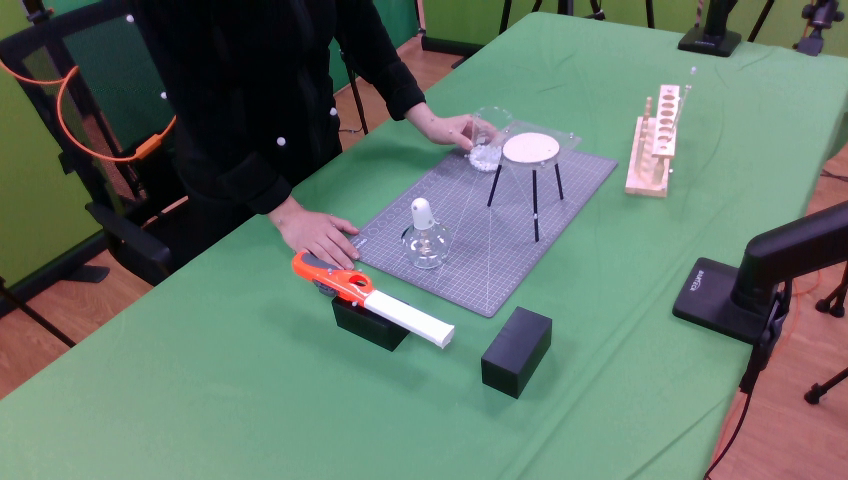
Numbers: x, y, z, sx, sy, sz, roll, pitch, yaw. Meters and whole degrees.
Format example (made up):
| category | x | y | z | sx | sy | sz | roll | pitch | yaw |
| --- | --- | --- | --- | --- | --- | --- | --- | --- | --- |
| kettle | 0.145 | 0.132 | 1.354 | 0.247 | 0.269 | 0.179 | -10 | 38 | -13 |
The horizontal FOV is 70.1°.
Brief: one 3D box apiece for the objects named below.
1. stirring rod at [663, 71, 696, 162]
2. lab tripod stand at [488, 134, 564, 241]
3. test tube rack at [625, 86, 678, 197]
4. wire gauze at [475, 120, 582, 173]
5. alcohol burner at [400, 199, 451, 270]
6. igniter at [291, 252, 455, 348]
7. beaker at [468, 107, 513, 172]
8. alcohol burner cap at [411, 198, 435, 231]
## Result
| category | x | y | z | sx | sy | sz | roll | pitch | yaw |
| --- | --- | --- | --- | --- | --- | --- | --- | --- | --- |
| stirring rod | 0.410 | -0.195 | 0.981 | 0.014 | 0.177 | 0.006 | 11 | 50 | 13 |
| lab tripod stand | 0.168 | -0.092 | 0.972 | 0.148 | 0.132 | 0.147 | -5 | 41 | 5 |
| test tube rack | 0.412 | -0.184 | 1.088 | 0.066 | 0.085 | 0.242 | 9 | 43 | 18 |
| wire gauze | 0.161 | -0.143 | 0.928 | 0.120 | 0.011 | 0.125 | 20 | 47 | 31 |
| alcohol burner | 0.000 | -0.013 | 0.917 | 0.078 | 0.119 | 0.077 | -5 | 41 | 5 |
| igniter | -0.080 | 0.076 | 0.822 | 0.274 | 0.025 | 0.057 | 23 | 45 | 27 |
| beaker | 0.121 | -0.182 | 1.104 | 0.084 | 0.100 | 0.073 | -24 | 53 | -26 |
| alcohol burner cap | -0.003 | -0.040 | 0.893 | 0.034 | 0.048 | 0.033 | -7 | 41 | 7 |
